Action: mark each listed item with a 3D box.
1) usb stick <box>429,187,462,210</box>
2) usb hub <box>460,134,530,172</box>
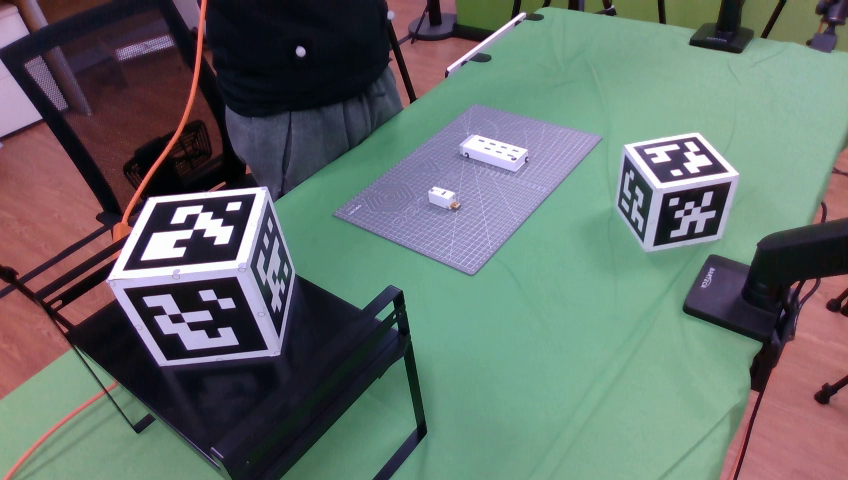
[{"bbox_3d":[0.039,-0.069,1.038,0.059,0.027,0.021,24,48,30],"label":"usb stick"},{"bbox_3d":[0.132,-0.165,1.137,0.124,0.025,0.049,22,49,30],"label":"usb hub"}]
